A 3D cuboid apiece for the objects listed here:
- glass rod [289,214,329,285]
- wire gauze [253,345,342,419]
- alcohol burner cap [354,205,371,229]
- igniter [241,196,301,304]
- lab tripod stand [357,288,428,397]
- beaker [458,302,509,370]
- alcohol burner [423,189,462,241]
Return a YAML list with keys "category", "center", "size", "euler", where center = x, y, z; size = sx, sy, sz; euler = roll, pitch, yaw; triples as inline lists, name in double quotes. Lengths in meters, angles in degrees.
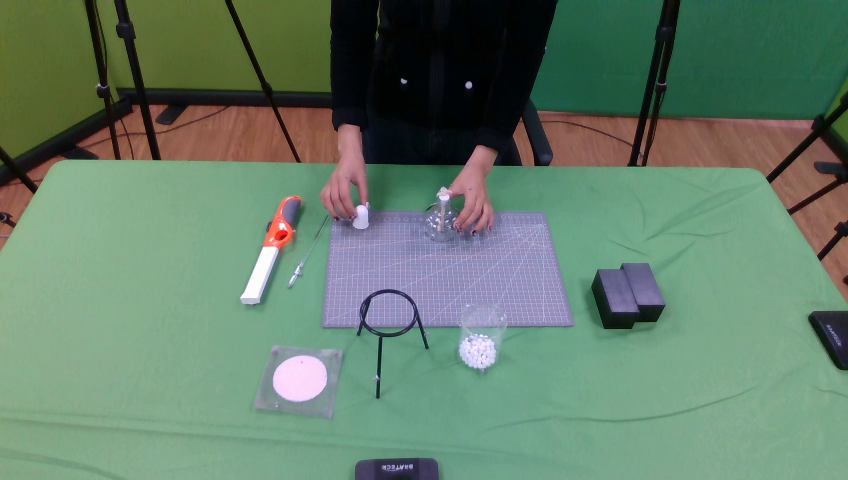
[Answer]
- category: "glass rod"
  center: [-0.221, 0.014, 1.179]
  size: [0.008, 0.008, 0.199]
  euler: [12, 46, 8]
- category: "wire gauze"
  center: [-0.200, 0.224, 0.979]
  size: [0.125, 0.011, 0.121]
  euler: [7, 47, 0]
- category: "alcohol burner cap"
  center: [-0.124, -0.049, 1.208]
  size: [0.034, 0.048, 0.033]
  euler: [-2, 46, 2]
- category: "igniter"
  center: [-0.290, 0.010, 1.164]
  size: [0.057, 0.025, 0.275]
  euler: [0, 45, 10]
- category: "lab tripod stand"
  center: [-0.058, 0.155, 0.968]
  size: [0.148, 0.132, 0.147]
  euler: [3, 47, -3]
- category: "beaker"
  center: [0.092, 0.159, 0.999]
  size: [0.083, 0.101, 0.074]
  euler: [35, 53, 28]
- category: "alcohol burner"
  center: [0.036, -0.055, 1.186]
  size: [0.078, 0.120, 0.077]
  euler: [1, 48, -1]
